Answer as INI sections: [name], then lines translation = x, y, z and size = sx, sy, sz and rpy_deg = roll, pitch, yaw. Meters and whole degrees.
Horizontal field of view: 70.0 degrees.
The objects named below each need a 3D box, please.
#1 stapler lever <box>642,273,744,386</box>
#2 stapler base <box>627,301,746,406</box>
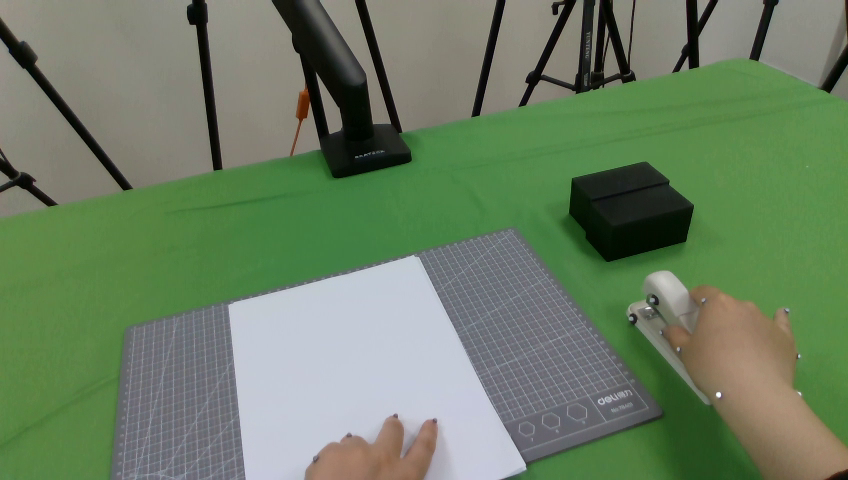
[stapler lever]
translation = 0.239, 0.075, 0.545
size = 0.027, 0.040, 0.116
rpy_deg = -16, 40, -12
[stapler base]
translation = 0.240, 0.095, 0.562
size = 0.041, 0.024, 0.129
rpy_deg = -15, 39, -12
